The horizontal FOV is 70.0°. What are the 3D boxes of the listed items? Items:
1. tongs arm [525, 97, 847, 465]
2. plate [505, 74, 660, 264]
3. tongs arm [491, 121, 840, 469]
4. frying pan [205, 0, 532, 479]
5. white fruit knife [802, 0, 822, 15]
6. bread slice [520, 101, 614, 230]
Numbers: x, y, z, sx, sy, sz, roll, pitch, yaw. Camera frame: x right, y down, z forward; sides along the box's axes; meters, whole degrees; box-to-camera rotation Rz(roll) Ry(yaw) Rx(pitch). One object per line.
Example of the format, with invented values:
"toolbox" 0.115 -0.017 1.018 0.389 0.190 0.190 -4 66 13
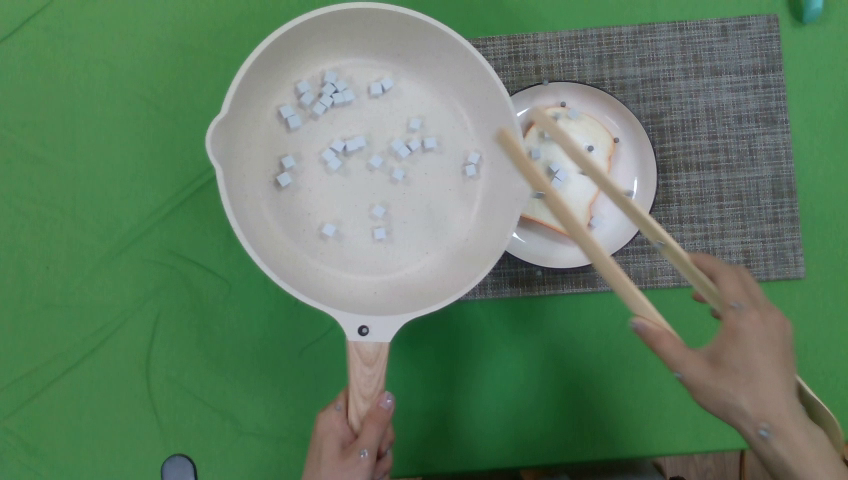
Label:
"tongs arm" 0.210 0.027 0.515 0.050 0.026 0.383 -41 82 -19
"plate" 0.151 -0.077 0.671 0.207 0.039 0.207 0 87 2
"tongs arm" 0.188 0.043 0.507 0.028 0.028 0.386 -38 81 -22
"frying pan" -0.051 0.029 0.568 0.308 0.102 0.486 6 81 -17
"white fruit knife" 0.426 -0.355 0.655 0.016 0.027 0.208 -4 101 1
"bread slice" 0.147 -0.085 0.674 0.107 0.018 0.134 19 91 2
